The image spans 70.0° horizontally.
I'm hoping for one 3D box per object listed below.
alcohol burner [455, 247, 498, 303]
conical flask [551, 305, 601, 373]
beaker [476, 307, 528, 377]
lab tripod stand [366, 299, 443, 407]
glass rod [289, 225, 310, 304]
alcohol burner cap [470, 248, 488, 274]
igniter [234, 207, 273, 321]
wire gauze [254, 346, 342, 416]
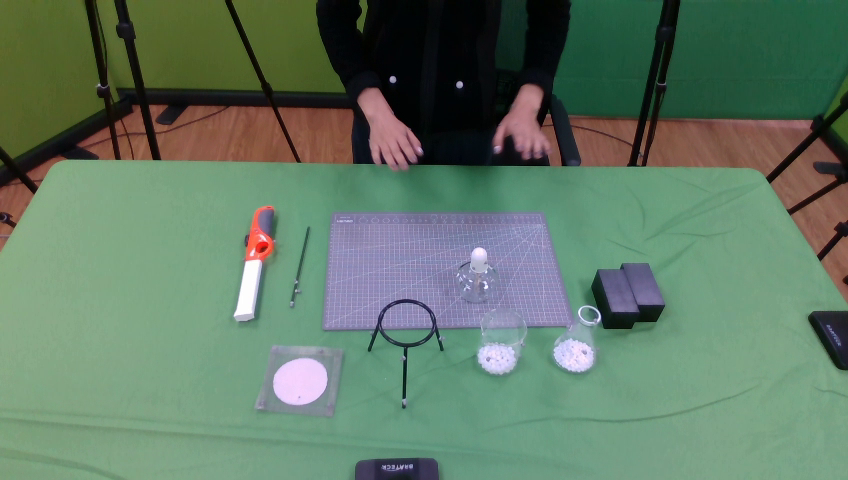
[{"bbox_3d":[0.095,0.057,1.085,0.078,0.120,0.077,1,47,-1],"label":"alcohol burner"},{"bbox_3d":[0.257,0.158,0.998,0.075,0.122,0.075,2,45,-2],"label":"conical flask"},{"bbox_3d":[0.122,0.171,0.991,0.084,0.101,0.073,-34,56,-30],"label":"beaker"},{"bbox_3d":[-0.028,0.165,0.960,0.148,0.132,0.147,3,44,-2],"label":"lab tripod stand"},{"bbox_3d":[-0.235,0.043,1.150,0.008,0.008,0.198,3,46,-1],"label":"glass rod"},{"bbox_3d":[0.095,0.034,1.057,0.034,0.048,0.033,-3,53,4],"label":"alcohol burner cap"},{"bbox_3d":[-0.318,0.035,1.137,0.057,0.025,0.274,-8,46,3],"label":"igniter"},{"bbox_3d":[-0.201,0.223,0.978,0.125,0.011,0.121,4,45,1],"label":"wire gauze"}]
